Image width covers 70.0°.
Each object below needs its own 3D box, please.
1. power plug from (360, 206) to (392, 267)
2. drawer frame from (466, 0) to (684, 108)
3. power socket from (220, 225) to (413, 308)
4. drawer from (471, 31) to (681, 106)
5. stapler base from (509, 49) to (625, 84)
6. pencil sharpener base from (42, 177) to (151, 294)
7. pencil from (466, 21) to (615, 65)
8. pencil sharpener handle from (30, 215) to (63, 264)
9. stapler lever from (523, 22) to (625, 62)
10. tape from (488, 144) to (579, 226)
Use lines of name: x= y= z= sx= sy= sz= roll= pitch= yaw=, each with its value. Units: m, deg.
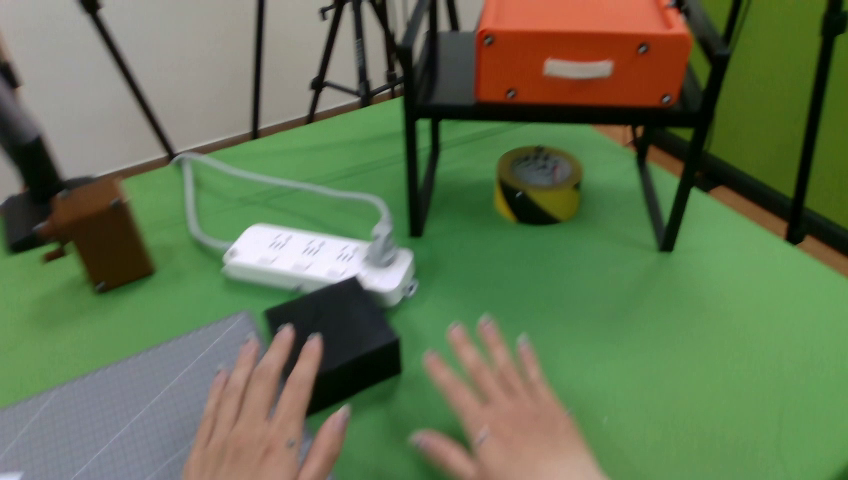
power plug: x=-0.045 y=0.003 z=0.675 sx=0.035 sy=0.053 sz=0.072 roll=16 pitch=44 yaw=21
drawer frame: x=0.152 y=-0.228 z=0.662 sx=0.201 sy=0.083 sz=0.211 roll=2 pitch=39 yaw=6
power socket: x=-0.123 y=0.028 z=0.686 sx=0.226 sy=0.033 sz=0.072 roll=9 pitch=40 yaw=14
drawer: x=0.154 y=-0.226 z=0.661 sx=0.194 sy=0.074 sz=0.210 roll=3 pitch=39 yaw=6
stapler base: x=0.156 y=-0.190 z=0.653 sx=0.131 sy=0.024 sz=0.041 roll=-8 pitch=43 yaw=-19
pencil sharpener base: x=-0.363 y=-0.003 z=0.673 sx=0.077 sy=0.108 sz=0.060 roll=-25 pitch=45 yaw=-24
pencil: x=0.137 y=-0.228 z=0.703 sx=0.194 sy=0.012 sz=0.012 roll=-19 pitch=42 yaw=-14
pencil sharpener handle: x=-0.409 y=0.003 z=0.647 sx=0.031 sy=0.068 sz=0.035 roll=-25 pitch=66 yaw=-24
stapler lever: x=0.160 y=-0.209 z=0.638 sx=0.118 sy=0.040 sz=0.026 roll=-8 pitch=43 yaw=-18
tape: x=0.141 y=-0.073 z=0.782 sx=0.117 sy=0.053 sz=0.115 roll=-1 pitch=41 yaw=1
